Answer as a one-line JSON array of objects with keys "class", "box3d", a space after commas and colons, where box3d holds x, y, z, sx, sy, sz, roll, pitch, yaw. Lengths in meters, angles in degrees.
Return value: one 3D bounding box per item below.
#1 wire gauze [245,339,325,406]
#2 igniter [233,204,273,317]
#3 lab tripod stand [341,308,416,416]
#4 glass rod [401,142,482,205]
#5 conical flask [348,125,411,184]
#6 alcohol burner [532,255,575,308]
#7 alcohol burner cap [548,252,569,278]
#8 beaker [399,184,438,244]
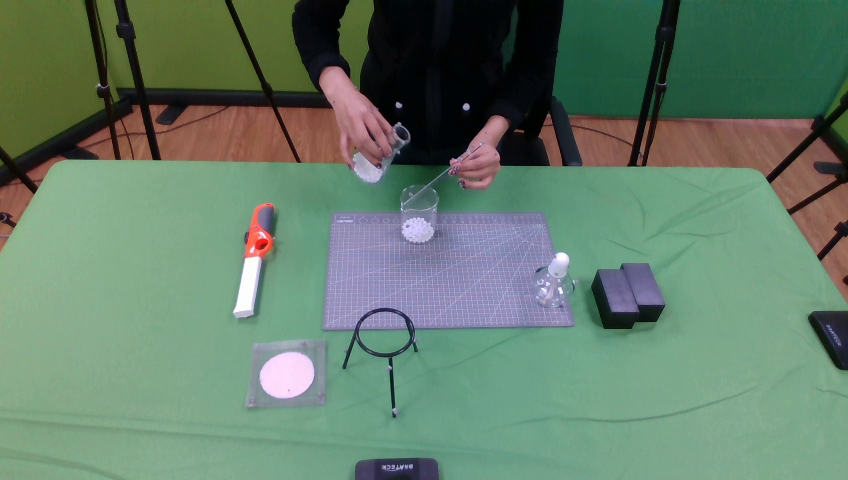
[{"class": "wire gauze", "box3d": [-0.224, 0.214, 0.984, 0.125, 0.011, 0.120, -2, 46, -5]}, {"class": "igniter", "box3d": [-0.321, 0.029, 1.142, 0.057, 0.025, 0.274, -8, 46, 4]}, {"class": "lab tripod stand", "box3d": [-0.061, 0.177, 0.946, 0.148, 0.132, 0.147, 2, 44, -2]}, {"class": "glass rod", "box3d": [0.029, -0.120, 1.119, 0.008, 0.200, 0.008, 39, 31, -28]}, {"class": "conical flask", "box3d": [-0.075, -0.159, 1.100, 0.076, 0.122, 0.075, 26, 48, -33]}, {"class": "alcohol burner", "box3d": [0.235, 0.066, 1.087, 0.078, 0.119, 0.077, 4, 45, -3]}, {"class": "alcohol burner cap", "box3d": [0.238, 0.042, 1.060, 0.034, 0.048, 0.033, 1, 53, -1]}, {"class": "beaker", "box3d": [-0.015, -0.046, 1.186, 0.073, 0.101, 0.084, 36, 54, 27]}]
